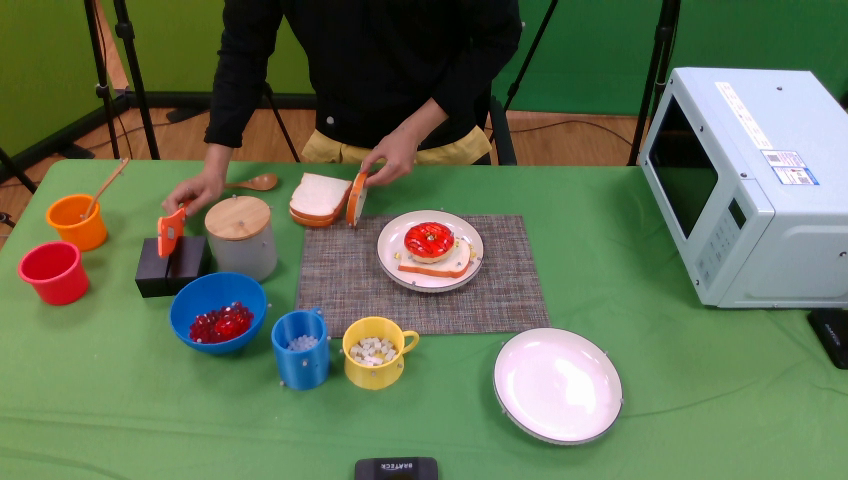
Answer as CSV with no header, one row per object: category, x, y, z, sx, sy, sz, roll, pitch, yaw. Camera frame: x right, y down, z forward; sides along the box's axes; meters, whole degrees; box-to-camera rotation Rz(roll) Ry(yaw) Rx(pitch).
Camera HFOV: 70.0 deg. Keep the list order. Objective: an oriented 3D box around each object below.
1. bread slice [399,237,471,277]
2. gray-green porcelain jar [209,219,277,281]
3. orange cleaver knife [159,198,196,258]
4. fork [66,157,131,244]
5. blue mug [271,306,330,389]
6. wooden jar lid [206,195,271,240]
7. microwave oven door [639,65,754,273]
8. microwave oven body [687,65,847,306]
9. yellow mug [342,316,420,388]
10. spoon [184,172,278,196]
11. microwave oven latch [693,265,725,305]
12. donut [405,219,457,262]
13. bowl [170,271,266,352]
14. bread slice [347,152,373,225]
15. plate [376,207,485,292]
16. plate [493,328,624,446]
bread slice,0.025,0.025,1.160,0.131,0.019,0.104,7,47,7
gray-green porcelain jar,-0.323,0.007,1.092,0.106,0.127,0.105,2,46,-2
orange cleaver knife,-0.455,-0.027,1.124,0.012,0.077,0.210,0,18,-5
fork,-0.608,-0.074,1.132,0.207,0.019,0.028,-52,49,10
blue mug,-0.188,0.163,0.969,0.082,0.106,0.116,15,47,10
wooden jar lid,-0.319,-0.036,1.046,0.108,0.021,0.107,1,44,0
microwave oven door,0.522,-0.147,1.192,0.039,0.245,0.353,0,47,-3
microwave oven body,0.669,-0.111,1.176,0.326,0.261,0.439,0,46,-3
yellow mug,-0.068,0.177,0.990,0.131,0.064,0.099,-16,50,-19
spoon,-0.405,-0.116,1.274,0.194,0.022,0.041,-8,66,-12
microwave oven latch,0.522,0.081,1.115,0.030,0.029,0.078,2,46,-1
donut,0.012,0.000,1.140,0.099,0.048,0.098,0,44,0
bowl,-0.333,0.132,1.006,0.151,0.077,0.150,2,46,-2
bread slice,-0.129,-0.096,1.222,0.018,0.107,0.133,13,49,2
plate,0.012,0.021,1.158,0.209,0.038,0.208,2,47,-2
plate,0.213,0.236,0.974,0.208,0.039,0.206,2,46,-2
